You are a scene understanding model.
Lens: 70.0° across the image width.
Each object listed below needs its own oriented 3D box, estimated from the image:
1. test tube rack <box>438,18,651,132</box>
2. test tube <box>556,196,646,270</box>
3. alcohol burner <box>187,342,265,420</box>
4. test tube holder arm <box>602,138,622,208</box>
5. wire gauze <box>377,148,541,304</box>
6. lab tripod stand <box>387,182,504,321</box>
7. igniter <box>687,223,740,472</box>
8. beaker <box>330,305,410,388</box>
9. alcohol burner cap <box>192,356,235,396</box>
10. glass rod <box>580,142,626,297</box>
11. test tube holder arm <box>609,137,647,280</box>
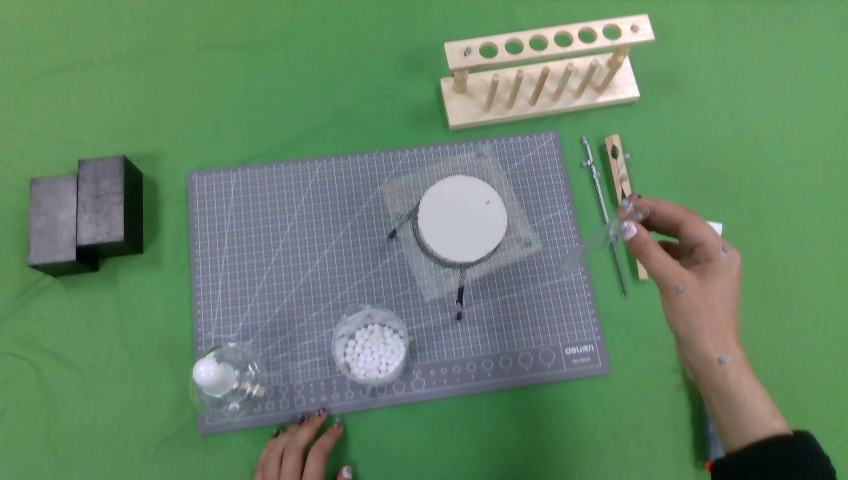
[{"bbox_3d":[0.143,-0.197,0.730,0.242,0.085,0.066,-10,74,-5],"label":"test tube rack"},{"bbox_3d":[0.152,-0.001,0.540,0.017,0.151,0.017,4,69,-10],"label":"test tube"},{"bbox_3d":[-0.200,0.138,0.601,0.078,0.120,0.077,0,71,-1],"label":"alcohol burner"},{"bbox_3d":[0.231,-0.081,0.736,0.010,0.015,0.087,-17,73,28],"label":"test tube holder arm"},{"bbox_3d":[0.032,-0.018,0.576,0.121,0.011,0.124,-22,76,-7],"label":"wire gauze"},{"bbox_3d":[0.026,0.004,0.639,0.148,0.132,0.147,0,75,0],"label":"lab tripod stand"},{"bbox_3d":[0.321,0.114,0.678,0.057,0.025,0.275,6,73,-11],"label":"igniter"},{"bbox_3d":[-0.056,0.112,0.623,0.074,0.101,0.083,-29,76,-10],"label":"beaker"},{"bbox_3d":[-0.200,0.125,0.568,0.034,0.048,0.033,1,64,-2],"label":"alcohol burner cap"},{"bbox_3d":[0.212,-0.028,0.724,0.008,0.008,0.198,-9,74,-5],"label":"glass rod"},{"bbox_3d":[0.242,-0.039,0.722,0.013,0.015,0.177,-17,73,28],"label":"test tube holder arm"}]
